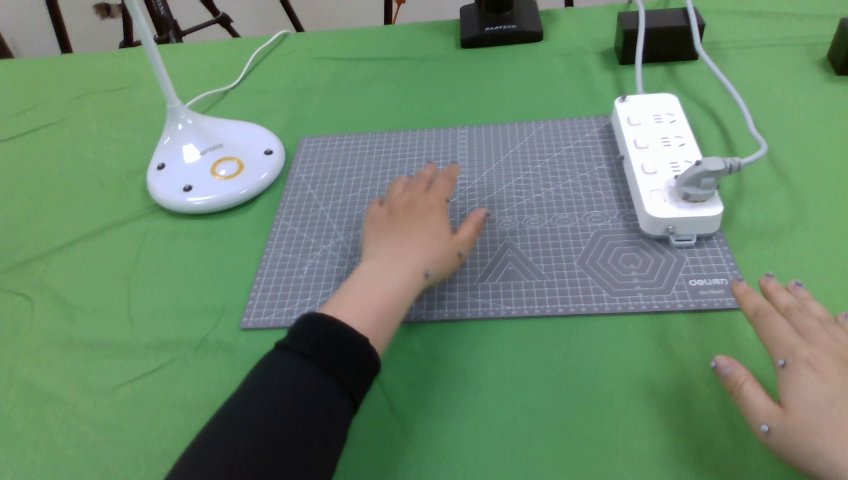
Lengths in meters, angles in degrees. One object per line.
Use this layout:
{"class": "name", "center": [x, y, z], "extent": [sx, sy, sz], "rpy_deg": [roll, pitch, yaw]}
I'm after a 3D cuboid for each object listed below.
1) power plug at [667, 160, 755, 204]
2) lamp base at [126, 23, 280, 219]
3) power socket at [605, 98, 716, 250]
{"class": "power plug", "center": [0.265, -0.046, 0.563], "extent": [0.072, 0.053, 0.035], "rpy_deg": [6, 46, 13]}
{"class": "lamp base", "center": [-0.269, -0.141, 0.671], "extent": [0.177, 0.182, 0.160], "rpy_deg": [27, 54, 34]}
{"class": "power socket", "center": [0.241, -0.081, 0.635], "extent": [0.072, 0.033, 0.224], "rpy_deg": [-1, 44, 6]}
